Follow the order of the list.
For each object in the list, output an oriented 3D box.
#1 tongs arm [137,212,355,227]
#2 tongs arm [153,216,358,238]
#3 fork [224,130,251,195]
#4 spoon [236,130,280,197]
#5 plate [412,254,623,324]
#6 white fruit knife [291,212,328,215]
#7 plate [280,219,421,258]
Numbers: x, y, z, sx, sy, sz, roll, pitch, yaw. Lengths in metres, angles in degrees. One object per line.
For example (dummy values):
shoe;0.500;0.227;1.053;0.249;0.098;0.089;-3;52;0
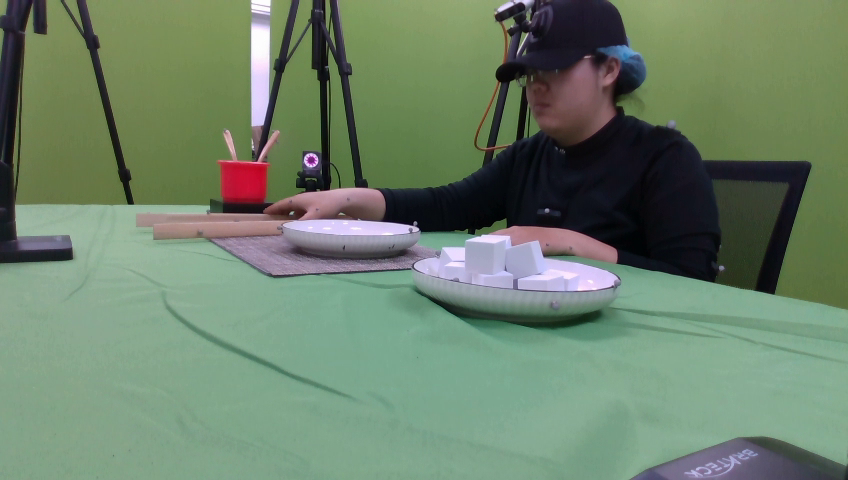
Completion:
tongs arm;-0.309;-0.035;1.105;0.387;0.026;0.050;-1;6;-31
tongs arm;-0.266;-0.024;1.042;0.390;0.028;0.028;-4;5;-43
fork;-0.372;-0.155;1.193;0.028;0.018;0.206;-17;54;-13
spoon;-0.321;-0.153;1.192;0.041;0.193;0.022;0;-37;19
plate;0.090;0.047;0.609;0.209;0.038;0.209;2;7;0
white fruit knife;-0.304;-0.050;1.328;0.208;0.016;0.027;-3;-19;-29
plate;-0.108;-0.002;0.902;0.208;0.039;0.207;3;7;0
